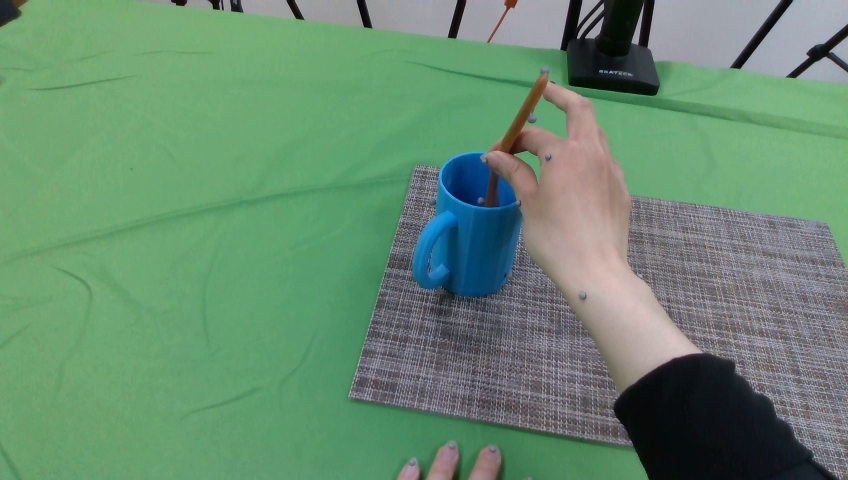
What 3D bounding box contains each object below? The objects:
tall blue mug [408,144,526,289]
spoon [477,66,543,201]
[{"bbox_3d":[0.038,-0.009,0.526,0.077,0.109,0.106,15,47,9],"label":"tall blue mug"},{"bbox_3d":[0.056,-0.062,0.480,0.021,0.195,0.041,23,58,6],"label":"spoon"}]
